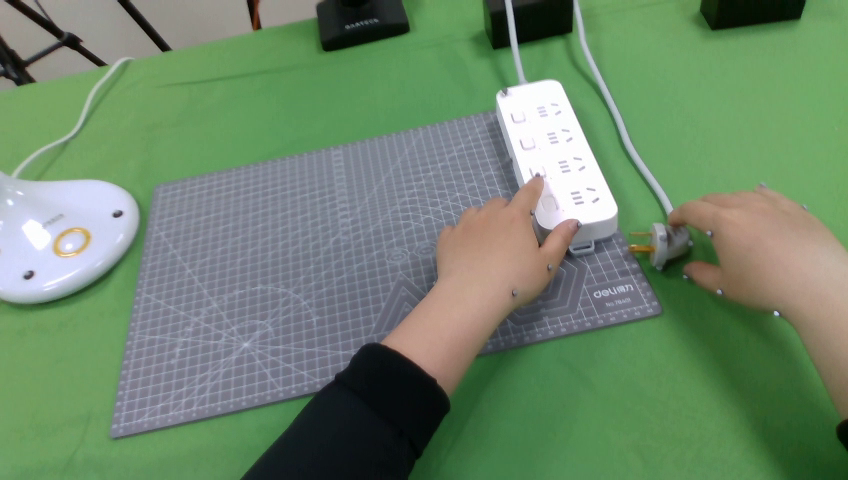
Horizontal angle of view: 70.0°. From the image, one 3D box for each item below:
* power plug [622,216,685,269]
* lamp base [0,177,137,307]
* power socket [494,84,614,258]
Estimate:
[{"bbox_3d":[0.195,0.001,0.523,0.052,0.035,0.072,4,14,9],"label":"power plug"},{"bbox_3d":[-0.398,-0.051,0.570,0.178,0.182,0.160,17,54,27],"label":"lamp base"},{"bbox_3d":[0.120,-0.078,0.589,0.072,0.033,0.224,-10,48,1],"label":"power socket"}]
